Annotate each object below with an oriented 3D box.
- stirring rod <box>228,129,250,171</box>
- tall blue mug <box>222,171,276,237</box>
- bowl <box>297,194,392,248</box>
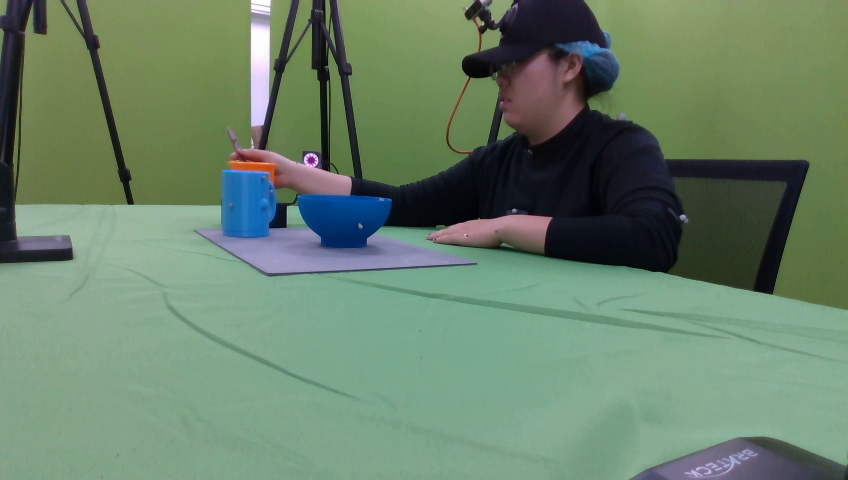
[{"bbox_3d":[-0.356,-0.155,1.196,0.006,0.175,0.014,-37,-26,18],"label":"stirring rod"},{"bbox_3d":[-0.303,-0.064,1.043,0.078,0.108,0.107,1,7,-4],"label":"tall blue mug"},{"bbox_3d":[-0.127,-0.030,0.964,0.151,0.077,0.151,2,7,0],"label":"bowl"}]
